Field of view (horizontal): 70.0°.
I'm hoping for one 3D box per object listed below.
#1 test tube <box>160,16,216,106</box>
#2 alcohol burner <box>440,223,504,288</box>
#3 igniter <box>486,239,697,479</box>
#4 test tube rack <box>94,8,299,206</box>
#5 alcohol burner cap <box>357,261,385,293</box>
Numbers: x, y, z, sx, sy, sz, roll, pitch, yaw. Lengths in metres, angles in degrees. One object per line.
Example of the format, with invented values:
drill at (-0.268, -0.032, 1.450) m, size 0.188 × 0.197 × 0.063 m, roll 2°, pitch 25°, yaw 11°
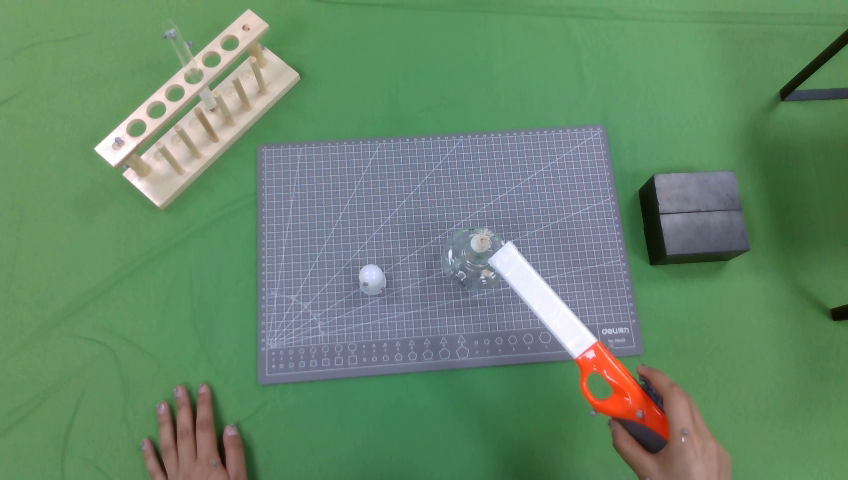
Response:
test tube at (-0.267, -0.199, 0.694) m, size 0.017 × 0.151 × 0.017 m, roll 1°, pitch 69°, yaw -1°
alcohol burner at (0.058, 0.013, 0.683) m, size 0.078 × 0.119 × 0.077 m, roll 1°, pitch 72°, yaw -3°
igniter at (0.159, 0.112, 0.578) m, size 0.057 × 0.025 × 0.275 m, roll -43°, pitch 76°, yaw 14°
test tube rack at (-0.266, -0.160, 0.734) m, size 0.066 × 0.085 × 0.242 m, roll 40°, pitch 77°, yaw 9°
alcohol burner cap at (-0.063, 0.041, 0.708) m, size 0.034 × 0.048 × 0.033 m, roll 0°, pitch 73°, yaw 0°
